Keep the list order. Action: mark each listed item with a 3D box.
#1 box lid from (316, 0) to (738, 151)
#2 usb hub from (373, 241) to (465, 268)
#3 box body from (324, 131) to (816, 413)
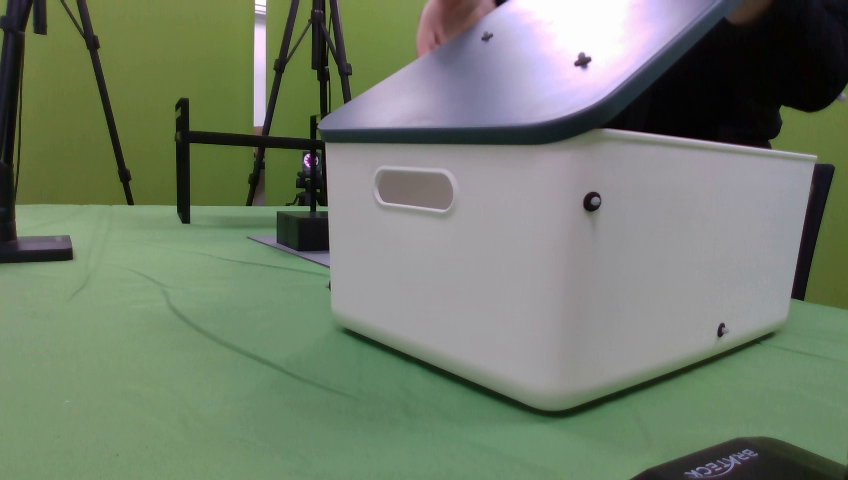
[{"bbox_3d":[0.111,-0.169,0.470,0.372,0.015,0.262,-42,31,-28],"label":"box lid"},{"bbox_3d":[-0.005,0.018,0.826,0.126,0.025,0.049,-3,9,-39],"label":"usb hub"},{"bbox_3d":[0.125,-0.001,0.510,0.366,0.160,0.253,-4,10,-40],"label":"box body"}]
